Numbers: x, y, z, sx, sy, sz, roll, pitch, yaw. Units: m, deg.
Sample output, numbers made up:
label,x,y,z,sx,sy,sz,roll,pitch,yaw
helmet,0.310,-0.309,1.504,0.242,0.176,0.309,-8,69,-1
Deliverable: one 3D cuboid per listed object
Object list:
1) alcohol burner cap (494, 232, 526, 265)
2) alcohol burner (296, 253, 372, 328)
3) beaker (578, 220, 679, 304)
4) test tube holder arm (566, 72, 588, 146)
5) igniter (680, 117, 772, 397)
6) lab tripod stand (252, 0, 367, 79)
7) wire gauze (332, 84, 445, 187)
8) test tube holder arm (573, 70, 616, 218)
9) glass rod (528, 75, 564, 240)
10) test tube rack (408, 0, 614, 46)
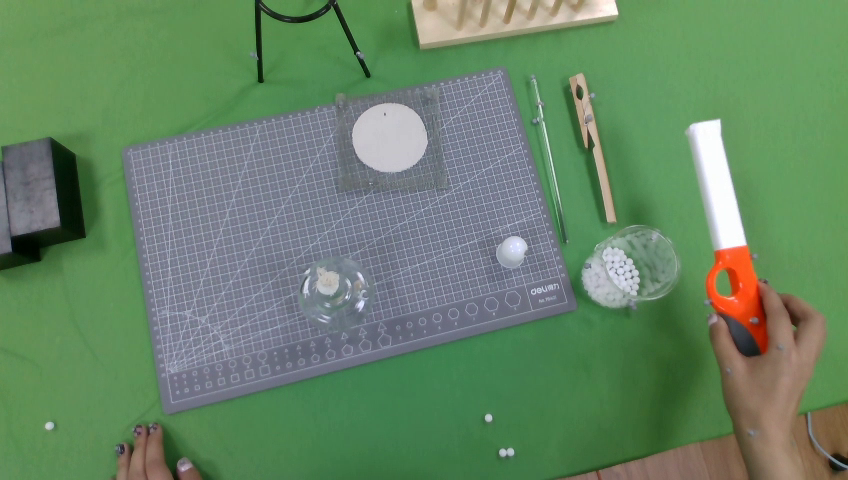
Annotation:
label,x,y,z,sx,sy,sz,roll,pitch,yaw
alcohol burner cap,0.095,0.007,0.654,0.034,0.048,0.033,0,78,-2
alcohol burner,-0.092,0.048,0.602,0.078,0.119,0.077,0,77,0
beaker,0.203,0.027,0.629,0.084,0.100,0.073,18,77,3
test tube holder arm,0.182,-0.153,0.707,0.010,0.015,0.087,-17,78,29
igniter,0.298,0.014,0.598,0.057,0.025,0.275,-9,83,0
lab tripod stand,-0.132,-0.240,0.653,0.148,0.132,0.148,0,80,-2
wire gauze,-0.042,-0.119,0.693,0.125,0.011,0.121,-2,80,-4
test tube holder arm,0.195,-0.111,0.696,0.013,0.015,0.177,-18,78,29
glass rod,0.140,-0.097,0.697,0.008,0.008,0.199,-8,81,-4
test tube rack,0.106,-0.293,0.697,0.242,0.085,0.066,-10,78,-4
